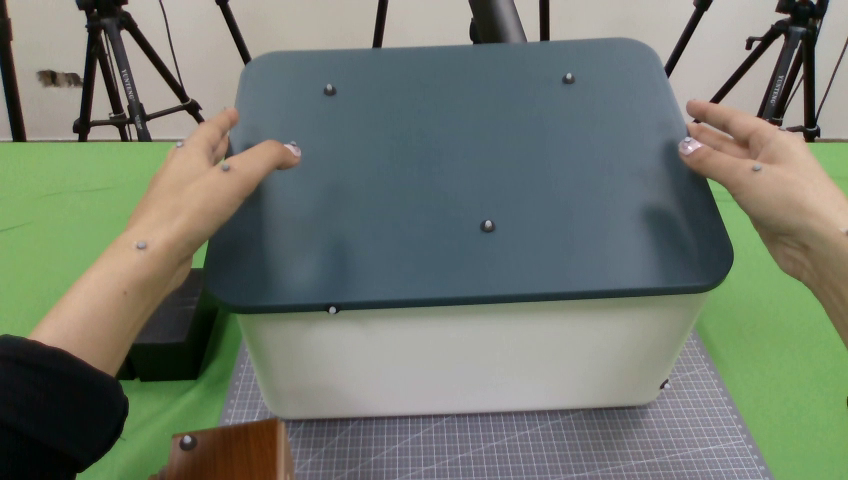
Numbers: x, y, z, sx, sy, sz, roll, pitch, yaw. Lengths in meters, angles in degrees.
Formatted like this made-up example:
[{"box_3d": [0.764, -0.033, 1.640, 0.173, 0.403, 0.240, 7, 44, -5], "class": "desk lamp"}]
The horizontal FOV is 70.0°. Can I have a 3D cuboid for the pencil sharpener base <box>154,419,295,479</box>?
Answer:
[{"box_3d": [-0.125, 0.177, 0.398, 0.077, 0.108, 0.060, -6, 39, -9], "class": "pencil sharpener base"}]

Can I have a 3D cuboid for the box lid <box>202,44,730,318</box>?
[{"box_3d": [0.024, -0.063, 0.480, 0.372, 0.015, 0.260, -3, 55, -1], "class": "box lid"}]

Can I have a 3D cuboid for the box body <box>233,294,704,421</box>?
[{"box_3d": [0.030, 0.022, 0.565, 0.364, 0.162, 0.251, -1, 37, -4], "class": "box body"}]

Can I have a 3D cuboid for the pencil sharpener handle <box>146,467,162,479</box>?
[{"box_3d": [-0.175, 0.172, 0.382, 0.031, 0.068, 0.035, -6, 41, -9], "class": "pencil sharpener handle"}]
